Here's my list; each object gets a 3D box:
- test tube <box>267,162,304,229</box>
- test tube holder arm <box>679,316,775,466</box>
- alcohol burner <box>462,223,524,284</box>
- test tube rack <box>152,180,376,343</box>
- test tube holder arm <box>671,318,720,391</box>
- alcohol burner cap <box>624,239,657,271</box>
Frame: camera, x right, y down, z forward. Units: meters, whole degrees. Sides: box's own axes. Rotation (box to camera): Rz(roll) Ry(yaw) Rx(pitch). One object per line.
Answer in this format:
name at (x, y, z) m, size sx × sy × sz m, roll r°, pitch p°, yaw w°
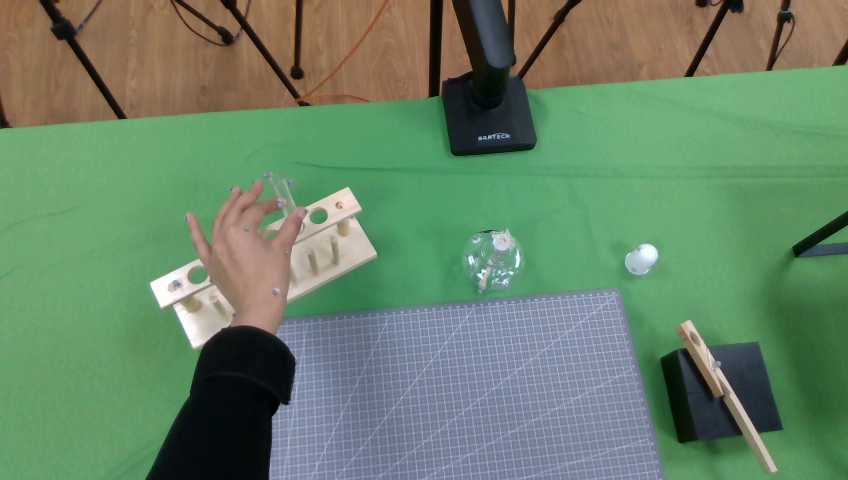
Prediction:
test tube at (-0.145, -0.040, 0.652) m, size 0.017 × 0.151 × 0.017 m, roll 1°, pitch 67°, yaw -1°
test tube holder arm at (0.335, 0.166, 0.677) m, size 0.013 × 0.015 × 0.177 m, roll -23°, pitch 73°, yaw -16°
alcohol burner at (0.085, 0.010, 0.725) m, size 0.078 × 0.120 × 0.077 m, roll 1°, pitch 69°, yaw -3°
test tube rack at (-0.180, 0.026, 0.718) m, size 0.242 × 0.086 × 0.066 m, roll -28°, pitch 72°, yaw -13°
test tube holder arm at (0.311, 0.130, 0.689) m, size 0.010 × 0.015 × 0.087 m, roll -22°, pitch 73°, yaw -15°
alcohol burner cap at (0.277, 0.017, 0.771) m, size 0.034 × 0.048 × 0.033 m, roll 1°, pitch 68°, yaw -1°
